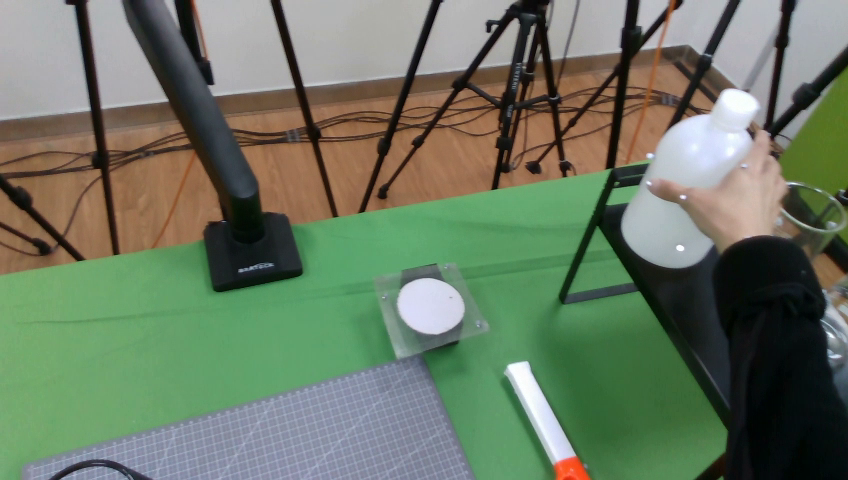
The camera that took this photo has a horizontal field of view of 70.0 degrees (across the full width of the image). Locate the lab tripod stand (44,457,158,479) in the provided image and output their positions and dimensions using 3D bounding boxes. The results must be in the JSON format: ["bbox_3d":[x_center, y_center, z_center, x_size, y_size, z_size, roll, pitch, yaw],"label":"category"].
[{"bbox_3d":[-0.282,0.264,0.538,0.148,0.132,0.147,6,48,-6],"label":"lab tripod stand"}]

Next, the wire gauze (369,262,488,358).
[{"bbox_3d":[0.004,0.082,0.766,0.122,0.011,0.123,-11,51,-17],"label":"wire gauze"}]

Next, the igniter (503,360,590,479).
[{"bbox_3d":[0.160,0.256,0.684,0.057,0.025,0.273,-4,48,-26],"label":"igniter"}]

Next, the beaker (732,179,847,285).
[{"bbox_3d":[0.391,-0.007,0.661,0.074,0.101,0.083,-6,49,-13],"label":"beaker"}]

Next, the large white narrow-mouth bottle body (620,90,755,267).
[{"bbox_3d":[0.282,-0.067,0.634,0.102,0.196,0.101,4,48,-4],"label":"large white narrow-mouth bottle body"}]

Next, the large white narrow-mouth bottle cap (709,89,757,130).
[{"bbox_3d":[0.291,-0.124,0.573,0.038,0.024,0.037,4,48,-4],"label":"large white narrow-mouth bottle cap"}]

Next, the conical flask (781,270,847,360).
[{"bbox_3d":[0.415,0.057,0.592,0.075,0.123,0.074,4,47,-4],"label":"conical flask"}]
